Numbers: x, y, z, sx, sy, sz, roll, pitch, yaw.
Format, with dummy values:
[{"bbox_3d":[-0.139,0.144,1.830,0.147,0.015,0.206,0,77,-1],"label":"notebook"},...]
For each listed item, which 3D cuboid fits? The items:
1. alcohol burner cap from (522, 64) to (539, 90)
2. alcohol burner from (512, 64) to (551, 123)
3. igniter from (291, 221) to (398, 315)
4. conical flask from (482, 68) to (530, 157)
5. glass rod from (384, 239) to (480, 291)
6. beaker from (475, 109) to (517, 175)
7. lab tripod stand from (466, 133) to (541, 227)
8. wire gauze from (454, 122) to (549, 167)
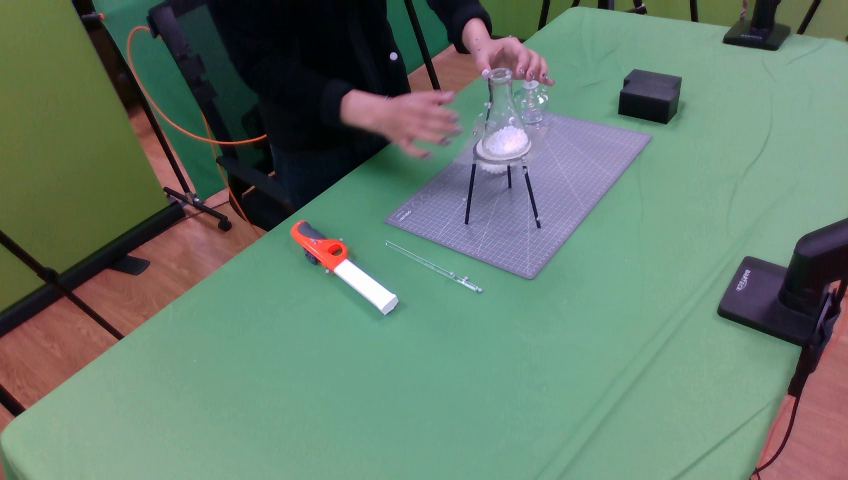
[{"bbox_3d":[0.210,-0.325,1.195,0.034,0.048,0.033,-7,45,7],"label":"alcohol burner cap"},{"bbox_3d":[0.215,-0.298,1.220,0.078,0.120,0.077,-7,41,7],"label":"alcohol burner"},{"bbox_3d":[-0.136,0.037,0.963,0.057,0.025,0.274,-41,48,-18],"label":"igniter"},{"bbox_3d":[0.118,-0.192,0.902,0.075,0.122,0.075,-7,39,6],"label":"conical flask"},{"bbox_3d":[0.009,0.037,0.949,0.198,0.008,0.008,26,52,34],"label":"glass rod"},{"bbox_3d":[0.131,-0.174,1.101,0.073,0.101,0.084,16,47,29],"label":"beaker"},{"bbox_3d":[0.130,-0.099,0.985,0.148,0.132,0.147,-6,38,6],"label":"lab tripod stand"},{"bbox_3d":[0.122,-0.149,0.943,0.121,0.011,0.125,7,44,22],"label":"wire gauze"}]
